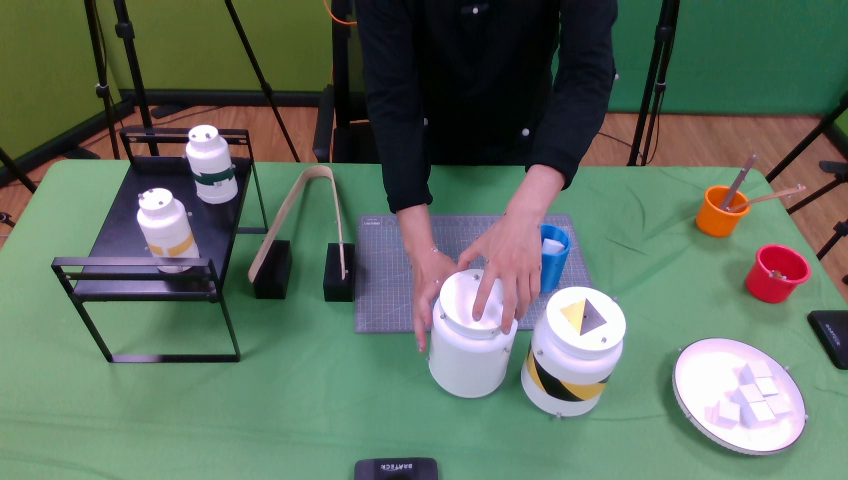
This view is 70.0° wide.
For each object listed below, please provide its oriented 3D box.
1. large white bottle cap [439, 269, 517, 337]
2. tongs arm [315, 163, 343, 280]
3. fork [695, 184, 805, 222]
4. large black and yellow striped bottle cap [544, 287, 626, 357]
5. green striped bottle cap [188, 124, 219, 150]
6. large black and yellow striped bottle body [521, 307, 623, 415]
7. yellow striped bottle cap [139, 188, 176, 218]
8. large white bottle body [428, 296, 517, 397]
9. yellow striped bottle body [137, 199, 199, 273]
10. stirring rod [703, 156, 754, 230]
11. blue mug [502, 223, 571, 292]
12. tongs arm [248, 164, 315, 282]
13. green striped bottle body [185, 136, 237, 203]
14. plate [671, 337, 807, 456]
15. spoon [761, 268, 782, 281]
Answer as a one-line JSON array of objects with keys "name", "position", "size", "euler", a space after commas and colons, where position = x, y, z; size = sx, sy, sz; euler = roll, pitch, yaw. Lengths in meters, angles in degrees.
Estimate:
[{"name": "large white bottle cap", "position": [0.079, 0.090, 0.888], "size": [0.115, 0.018, 0.114], "euler": [2, 47, -2]}, {"name": "tongs arm", "position": [-0.188, -0.049, 1.170], "size": [0.051, 0.026, 0.382], "euler": [-6, 35, -6]}, {"name": "fork", "position": [0.657, -0.075, 1.230], "size": [0.207, 0.019, 0.028], "euler": [-23, 34, 37]}, {"name": "large black and yellow striped bottle cap", "position": [0.232, 0.116, 0.876], "size": [0.115, 0.019, 0.114], "euler": [2, 46, -2]}, {"name": "green striped bottle cap", "position": [-0.339, -0.158, 0.931], "size": [0.044, 0.020, 0.044], "euler": [3, 46, -3]}, {"name": "large black and yellow striped bottle body", "position": [0.228, 0.173, 0.937], "size": [0.131, 0.185, 0.130], "euler": [2, 47, -2]}, {"name": "yellow striped bottle cap", "position": [-0.363, -0.051, 0.826], "size": [0.044, 0.019, 0.044], "euler": [1, 48, 0]}, {"name": "large white bottle body", "position": [0.075, 0.147, 0.950], "size": [0.131, 0.185, 0.130], "euler": [2, 47, -2]}, {"name": "yellow striped bottle body", "position": [-0.366, -0.014, 0.863], "size": [0.063, 0.121, 0.062], "euler": [2, 46, -2]}, {"name": "stirring rod", "position": [0.632, -0.098, 1.258], "size": [0.014, 0.006, 0.176], "euler": [33, 95, 29]}, {"name": "blue mug", "position": [0.203, 0.031, 1.121], "size": [0.116, 0.106, 0.082], "euler": [5, 47, 1]}, {"name": "tongs arm", "position": [-0.269, -0.047, 1.166], "size": [0.028, 0.028, 0.385], "euler": [-1, 34, 7]}, {"name": "green striped bottle body", "position": [-0.341, -0.121, 0.968], "size": [0.063, 0.120, 0.063], "euler": [2, 46, -2]}, {"name": "plate", "position": [0.503, 0.253, 0.984], "size": [0.208, 0.039, 0.206], "euler": [2, 46, -2]}, {"name": "spoon", "position": [0.638, 0.060, 1.105], "size": [0.041, 0.021, 0.194], "euler": [38, 11, 24]}]
